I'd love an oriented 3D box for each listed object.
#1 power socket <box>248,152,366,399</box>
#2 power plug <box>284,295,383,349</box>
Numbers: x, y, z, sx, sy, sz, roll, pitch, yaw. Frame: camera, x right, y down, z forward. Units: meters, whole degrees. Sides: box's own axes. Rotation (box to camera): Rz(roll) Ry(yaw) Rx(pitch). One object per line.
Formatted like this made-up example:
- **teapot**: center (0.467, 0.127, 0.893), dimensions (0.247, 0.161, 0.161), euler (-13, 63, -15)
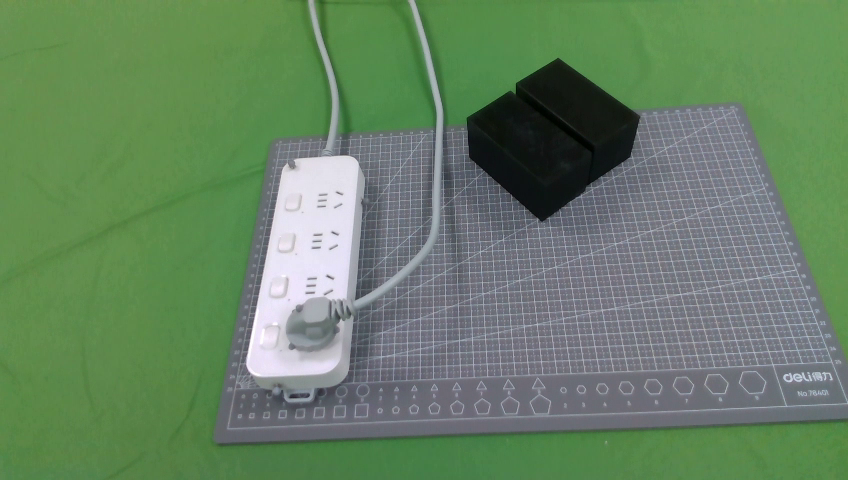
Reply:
- **power socket**: center (-0.090, 0.016, 0.496), dimensions (0.072, 0.033, 0.224), euler (-2, 56, 5)
- **power plug**: center (-0.065, 0.063, 0.432), dimensions (0.072, 0.053, 0.035), euler (7, 57, 12)
